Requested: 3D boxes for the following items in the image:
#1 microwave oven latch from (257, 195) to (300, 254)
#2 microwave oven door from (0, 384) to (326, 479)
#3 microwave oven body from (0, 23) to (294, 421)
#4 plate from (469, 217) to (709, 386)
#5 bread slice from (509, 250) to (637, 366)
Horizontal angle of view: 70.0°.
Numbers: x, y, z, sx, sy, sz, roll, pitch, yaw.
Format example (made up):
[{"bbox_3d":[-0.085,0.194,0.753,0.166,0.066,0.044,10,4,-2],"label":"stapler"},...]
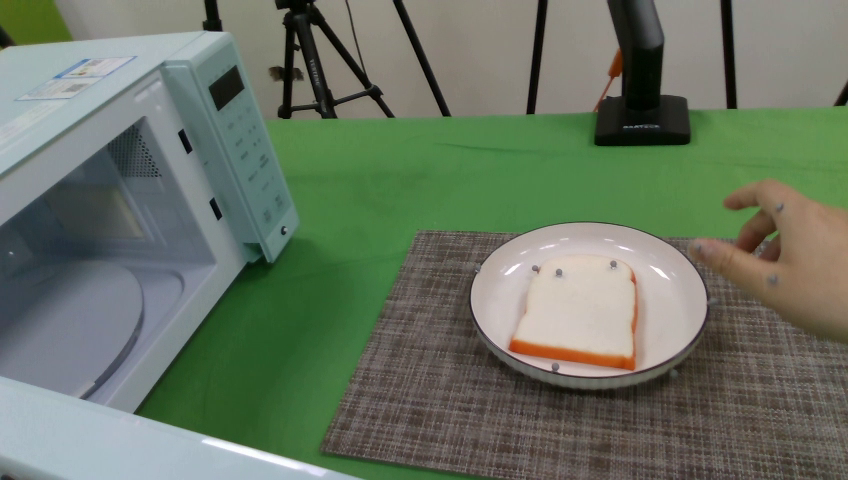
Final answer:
[{"bbox_3d":[-0.174,-0.020,0.714,0.030,0.030,0.078,4,40,18],"label":"microwave oven latch"},{"bbox_3d":[-0.144,0.157,0.305,0.354,0.246,0.039,6,41,22],"label":"microwave oven door"},{"bbox_3d":[-0.379,0.008,0.570,0.325,0.263,0.438,3,40,17],"label":"microwave oven body"},{"bbox_3d":[0.146,0.054,0.557,0.209,0.038,0.207,-7,37,6],"label":"plate"},{"bbox_3d":[0.143,0.056,0.560,0.104,0.019,0.130,5,41,19],"label":"bread slice"}]
